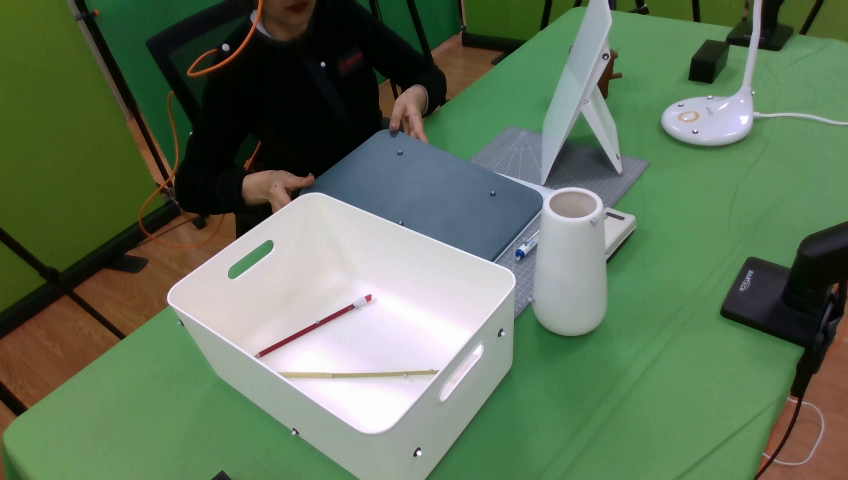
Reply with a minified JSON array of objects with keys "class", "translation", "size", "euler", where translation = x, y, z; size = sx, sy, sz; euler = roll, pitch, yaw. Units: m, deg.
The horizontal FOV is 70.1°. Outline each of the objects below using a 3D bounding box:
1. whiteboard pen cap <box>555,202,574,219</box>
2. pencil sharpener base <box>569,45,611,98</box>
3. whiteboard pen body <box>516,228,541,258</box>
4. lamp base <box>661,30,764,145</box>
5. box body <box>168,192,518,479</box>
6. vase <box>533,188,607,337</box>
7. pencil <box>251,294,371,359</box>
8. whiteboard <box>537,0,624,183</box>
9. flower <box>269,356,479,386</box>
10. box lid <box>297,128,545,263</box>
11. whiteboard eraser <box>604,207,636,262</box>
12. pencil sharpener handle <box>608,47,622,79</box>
[{"class":"whiteboard pen cap","translation":[0.230,-0.048,0.994],"size":[0.018,0.018,0.033],"euler":[26,54,34]},{"class":"pencil sharpener base","translation":[0.346,-0.352,1.262],"size":[0.077,0.107,0.061],"euler":[-10,40,-1]},{"class":"whiteboard pen body","translation":[0.192,-0.015,0.964],"size":[0.017,0.017,0.141],"euler":[26,51,34]},{"class":"lamp base","translation":[0.535,-0.287,1.096],"size":[0.179,0.181,0.159],"euler":[-10,40,-4]},{"class":"box body","translation":[-0.093,0.113,0.757],"size":[0.361,0.161,0.255],"euler":[22,49,32]},{"class":"vase","translation":[0.187,0.033,0.771],"size":[0.098,0.201,0.097],"euler":[-6,41,6]},{"class":"pencil","translation":[-0.162,0.125,0.865],"size":[0.195,0.012,0.012],"euler":[-27,43,-18]},{"class":"whiteboard","translation":[0.316,-0.256,1.047],"size":[0.144,0.306,0.216],"euler":[15,42,-1]},{"class":"flower","translation":[-0.086,0.173,0.785],"size":[0.361,0.038,0.044],"euler":[-2,46,12]},{"class":"box lid","translation":[-0.009,-0.073,1.038],"size":[0.369,0.015,0.264],"euler":[28,52,25]},{"class":"whiteboard eraser","translation":[0.272,-0.003,0.919],"size":[0.055,0.042,0.113],"euler":[27,51,32]},{"class":"pencil sharpener handle","translation":[0.395,-0.369,1.254],"size":[0.031,0.068,0.036],"euler":[-10,32,-1]}]
